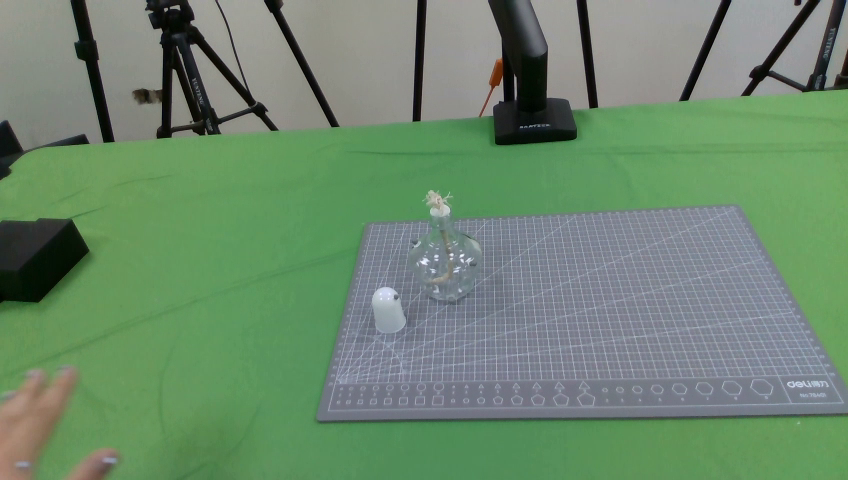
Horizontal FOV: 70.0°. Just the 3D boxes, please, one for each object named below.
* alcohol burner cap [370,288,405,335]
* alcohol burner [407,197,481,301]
[{"bbox_3d":[-0.038,0.069,0.608,0.034,0.048,0.033,-5,38,4],"label":"alcohol burner cap"},{"bbox_3d":[0.019,0.005,0.623,0.078,0.120,0.077,-3,38,3],"label":"alcohol burner"}]
